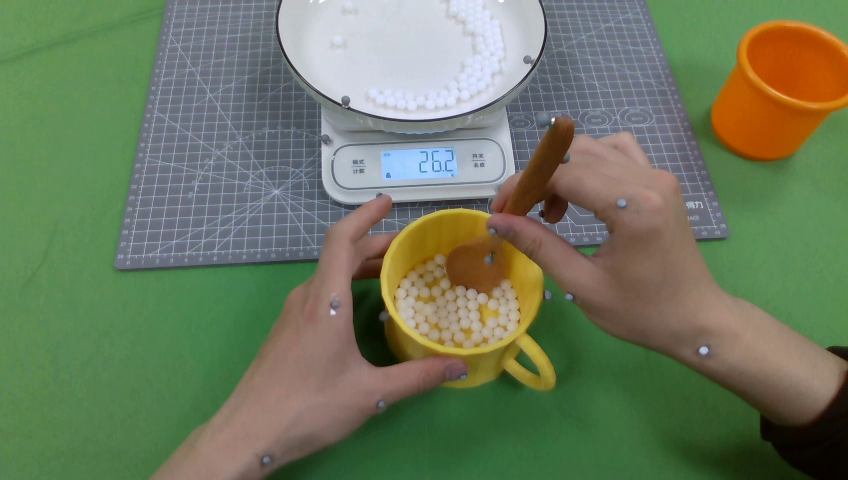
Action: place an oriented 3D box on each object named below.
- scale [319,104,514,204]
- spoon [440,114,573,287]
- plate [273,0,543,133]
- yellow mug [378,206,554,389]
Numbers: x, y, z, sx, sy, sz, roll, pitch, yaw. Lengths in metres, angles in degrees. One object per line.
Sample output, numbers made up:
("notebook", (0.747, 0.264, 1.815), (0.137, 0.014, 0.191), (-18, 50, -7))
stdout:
("scale", (-0.011, -0.122, 0.495), (0.149, 0.032, 0.199), (-3, 62, -3))
("spoon", (0.043, -0.011, 0.339), (0.041, 0.194, 0.021), (27, 68, 1))
("plate", (-0.012, -0.163, 0.480), (0.209, 0.038, 0.207), (1, 61, -2))
("yellow mug", (0.033, 0.046, 0.388), (0.100, 0.064, 0.130), (-41, 71, -19))
